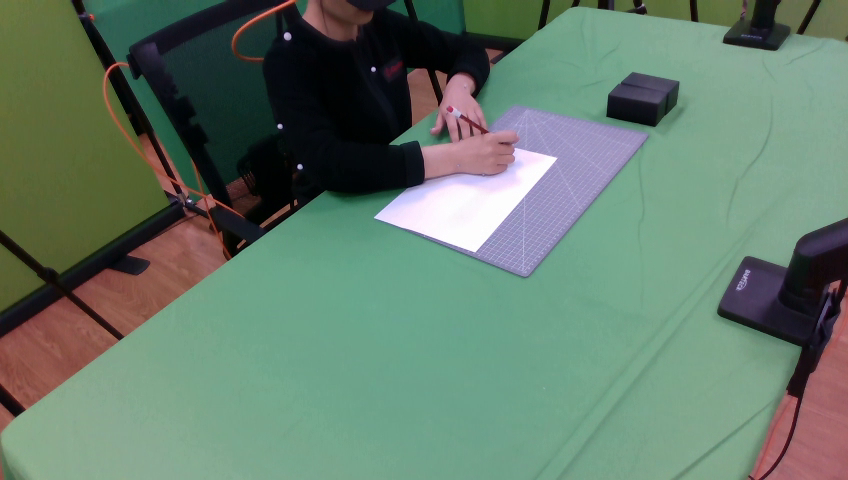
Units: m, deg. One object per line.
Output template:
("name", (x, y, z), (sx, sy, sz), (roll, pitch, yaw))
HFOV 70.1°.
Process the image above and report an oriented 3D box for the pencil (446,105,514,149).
("pencil", (0.105, -0.198, 1.082), (0.012, 0.196, 0.012), (-17, 64, 39))
